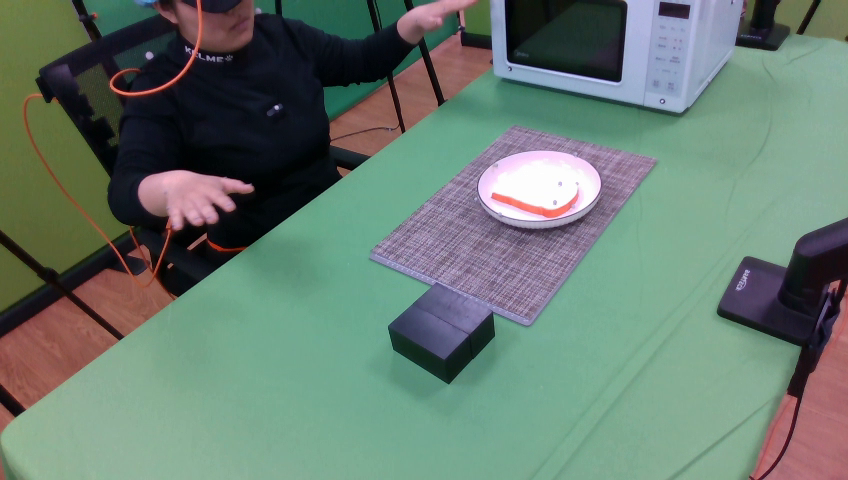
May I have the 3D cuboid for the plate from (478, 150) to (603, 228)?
[{"bbox_3d":[0.198,-0.084,1.030,0.209,0.038,0.208,-5,40,5],"label":"plate"}]

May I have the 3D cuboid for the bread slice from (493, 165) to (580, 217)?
[{"bbox_3d":[0.200,-0.085,1.034,0.130,0.019,0.105,23,50,34],"label":"bread slice"}]

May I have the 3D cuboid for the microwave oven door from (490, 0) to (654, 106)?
[{"bbox_3d":[0.292,-0.420,1.228,0.353,0.245,0.039,22,49,32],"label":"microwave oven door"}]

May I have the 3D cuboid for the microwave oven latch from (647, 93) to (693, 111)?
[{"bbox_3d":[0.477,-0.273,1.177,0.078,0.029,0.030,22,50,33],"label":"microwave oven latch"}]

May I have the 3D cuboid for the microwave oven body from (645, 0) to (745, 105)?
[{"bbox_3d":[0.416,-0.486,1.290,0.438,0.261,0.327,21,50,33],"label":"microwave oven body"}]
